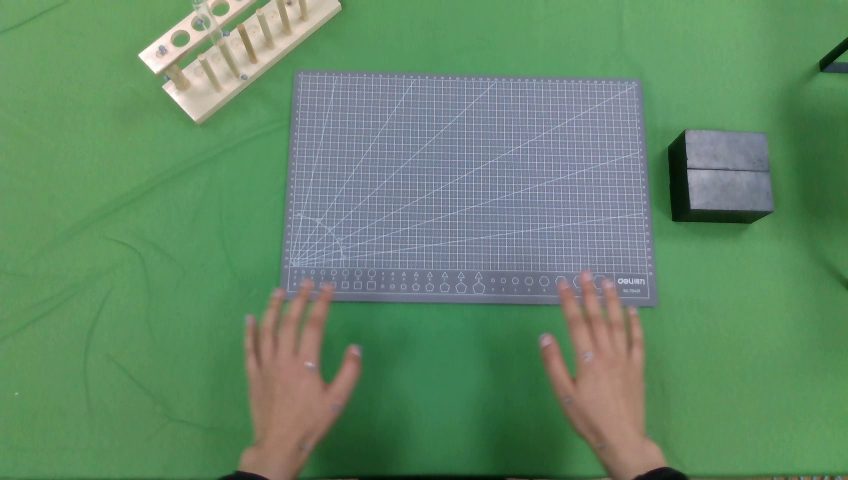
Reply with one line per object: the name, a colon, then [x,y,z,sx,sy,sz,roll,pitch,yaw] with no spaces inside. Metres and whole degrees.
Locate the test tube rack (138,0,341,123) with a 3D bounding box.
test tube rack: [-0.218,-0.259,0.746,0.242,0.085,0.066,-43,81,-11]

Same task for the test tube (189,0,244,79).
test tube: [-0.235,-0.230,0.693,0.017,0.151,0.017,0,73,1]
